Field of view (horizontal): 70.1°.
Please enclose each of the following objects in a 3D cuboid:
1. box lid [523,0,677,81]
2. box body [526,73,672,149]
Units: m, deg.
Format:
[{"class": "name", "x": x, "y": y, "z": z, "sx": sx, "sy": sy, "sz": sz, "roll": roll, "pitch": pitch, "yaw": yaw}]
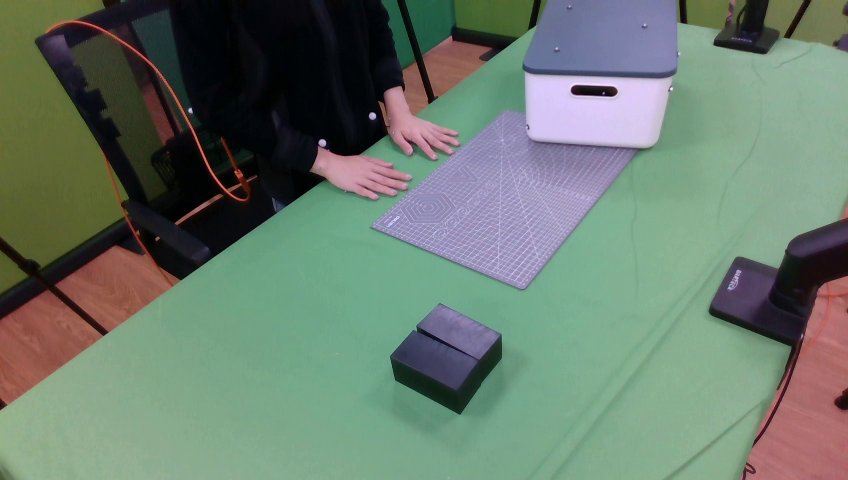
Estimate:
[{"class": "box lid", "x": 0.347, "y": -0.397, "z": 1.163, "sx": 0.262, "sy": 0.015, "sz": 0.371, "roll": 7, "pitch": 42, "yaw": 16}, {"class": "box body", "x": 0.356, "y": -0.342, "z": 1.212, "sx": 0.253, "sy": 0.161, "sz": 0.363, "roll": 7, "pitch": 42, "yaw": 17}]
